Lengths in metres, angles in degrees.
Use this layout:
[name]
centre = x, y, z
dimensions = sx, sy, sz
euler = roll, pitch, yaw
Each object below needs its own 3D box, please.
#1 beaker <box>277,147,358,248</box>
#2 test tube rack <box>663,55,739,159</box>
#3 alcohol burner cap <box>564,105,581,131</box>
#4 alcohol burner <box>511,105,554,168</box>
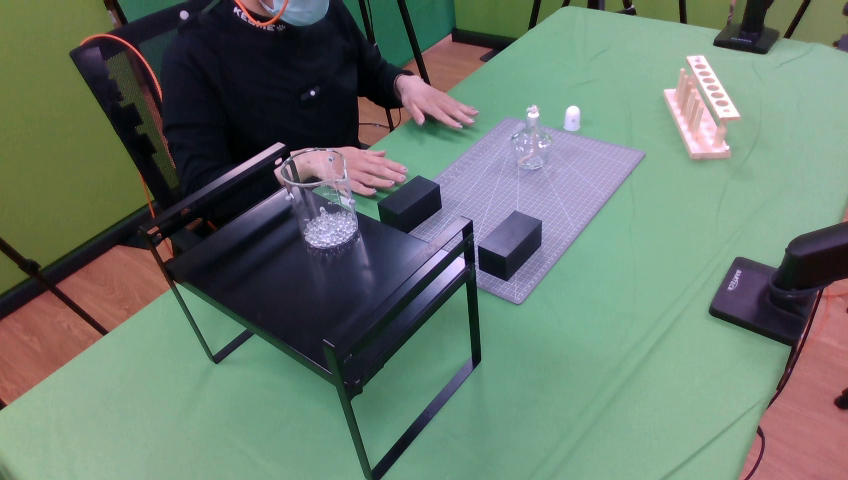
[beaker]
centre = -0.117, -0.046, 0.705
dimensions = 0.083, 0.101, 0.074
euler = 17, 47, 25
[test tube rack]
centre = 0.518, -0.256, 1.144
dimensions = 0.066, 0.085, 0.241
euler = -1, 41, 8
[alcohol burner cap]
centre = 0.294, -0.243, 1.195
dimensions = 0.034, 0.048, 0.033
euler = -4, 40, 4
[alcohol burner]
centre = 0.195, -0.190, 1.088
dimensions = 0.078, 0.119, 0.077
euler = -3, 42, 3
